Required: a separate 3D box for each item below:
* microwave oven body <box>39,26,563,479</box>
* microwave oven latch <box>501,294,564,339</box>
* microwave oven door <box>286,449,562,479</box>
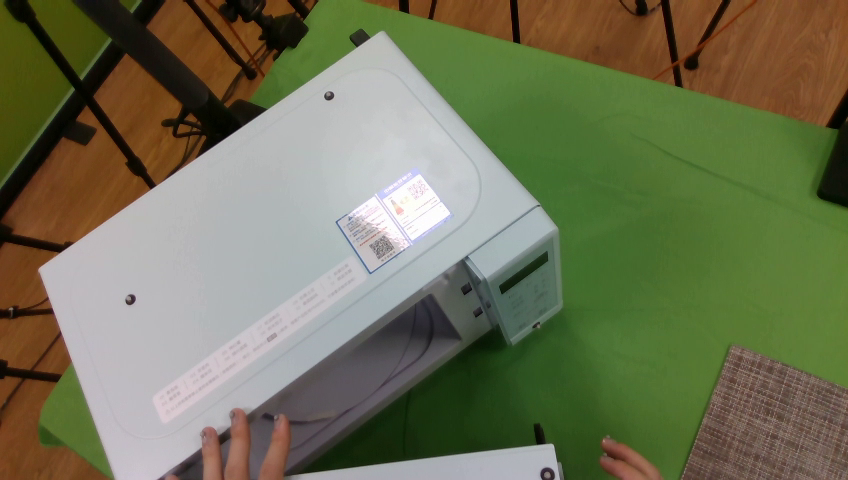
[{"bbox_3d":[-0.118,0.042,0.682,0.441,0.262,0.323,-36,64,-2],"label":"microwave oven body"},{"bbox_3d":[0.128,0.082,0.714,0.079,0.030,0.030,-34,64,-1],"label":"microwave oven latch"},{"bbox_3d":[-0.050,0.236,0.577,0.355,0.246,0.039,-10,66,9],"label":"microwave oven door"}]
